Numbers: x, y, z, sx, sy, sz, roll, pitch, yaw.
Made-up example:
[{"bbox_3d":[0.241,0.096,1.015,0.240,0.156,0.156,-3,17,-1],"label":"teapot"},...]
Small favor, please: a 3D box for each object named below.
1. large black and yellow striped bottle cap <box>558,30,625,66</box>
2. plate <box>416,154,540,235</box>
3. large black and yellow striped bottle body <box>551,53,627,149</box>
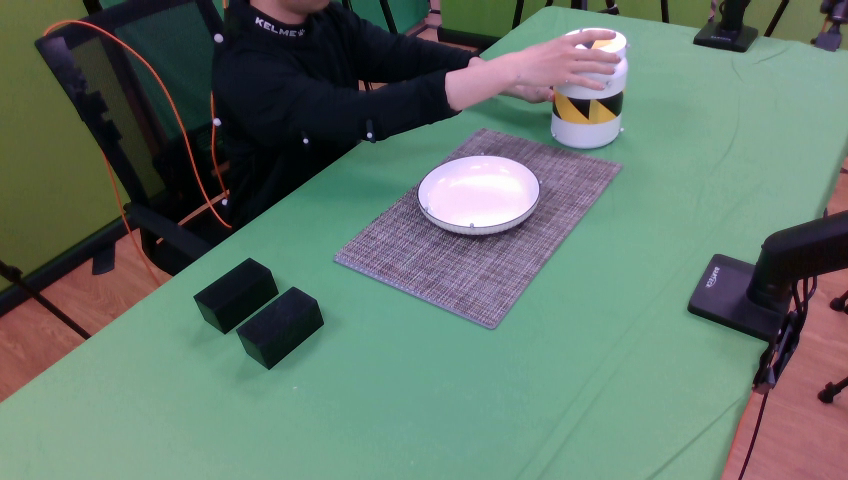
[{"bbox_3d":[0.297,-0.342,1.070,0.115,0.019,0.114,-3,42,3],"label":"large black and yellow striped bottle cap"},{"bbox_3d":[0.091,-0.074,1.025,0.207,0.039,0.206,-4,41,4],"label":"plate"},{"bbox_3d":[0.305,-0.278,1.125,0.131,0.185,0.130,-4,40,4],"label":"large black and yellow striped bottle body"}]
